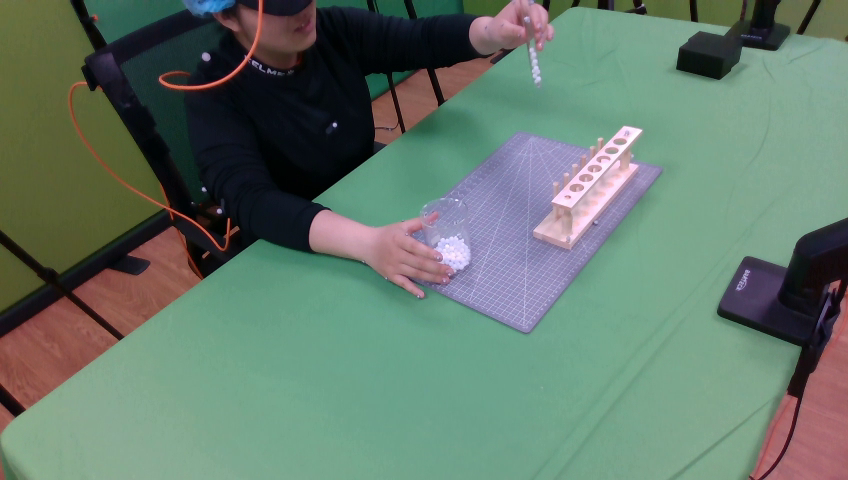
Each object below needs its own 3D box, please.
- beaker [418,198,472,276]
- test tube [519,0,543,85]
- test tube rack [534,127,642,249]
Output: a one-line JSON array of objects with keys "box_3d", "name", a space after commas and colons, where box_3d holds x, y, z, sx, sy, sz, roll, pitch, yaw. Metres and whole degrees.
[{"box_3d": [0.037, -0.004, 0.916, 0.073, 0.101, 0.084, 24, 49, 33], "name": "beaker"}, {"box_3d": [0.168, -0.313, 0.950, 0.017, 0.151, 0.017, -12, 37, 10], "name": "test tube"}, {"box_3d": [0.271, -0.094, 0.990, 0.066, 0.085, 0.243, 23, 49, 33], "name": "test tube rack"}]
